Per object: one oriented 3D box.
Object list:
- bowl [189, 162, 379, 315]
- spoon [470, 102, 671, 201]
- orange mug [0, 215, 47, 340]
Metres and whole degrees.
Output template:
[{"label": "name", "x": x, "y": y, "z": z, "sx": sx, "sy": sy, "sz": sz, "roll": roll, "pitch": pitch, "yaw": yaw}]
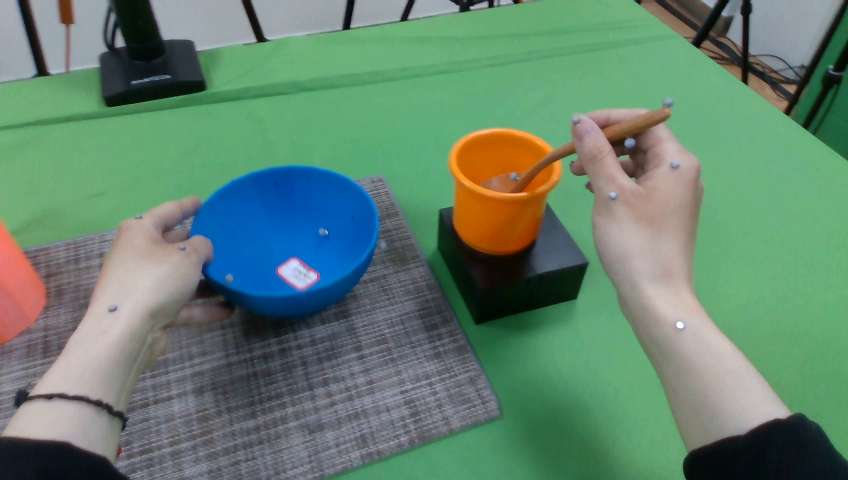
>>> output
[{"label": "bowl", "x": -0.113, "y": 0.010, "z": 0.517, "sx": 0.151, "sy": 0.077, "sz": 0.150, "roll": 2, "pitch": 46, "yaw": -2}, {"label": "spoon", "x": 0.096, "y": -0.063, "z": 0.445, "sx": 0.022, "sy": 0.193, "sz": 0.041, "roll": 40, "pitch": 62, "yaw": -16}, {"label": "orange mug", "x": -0.374, "y": 0.010, "z": 0.489, "sx": 0.083, "sy": 0.101, "sz": 0.125, "roll": -19, "pitch": 55, "yaw": -19}]
